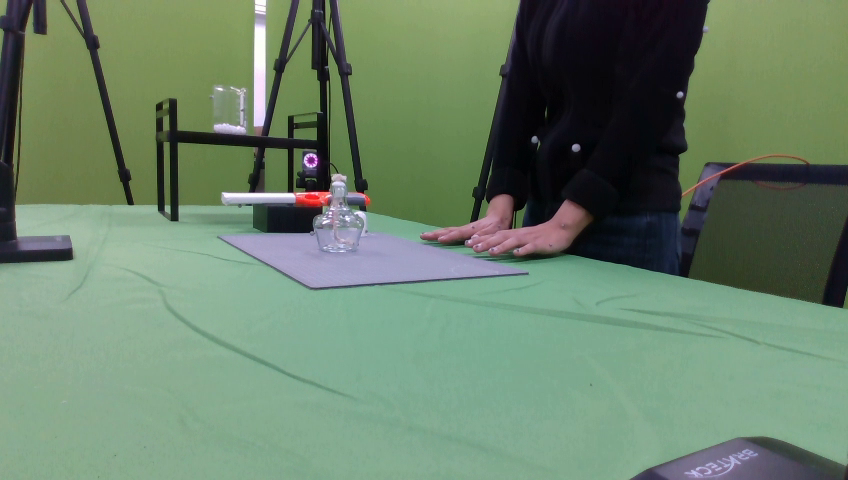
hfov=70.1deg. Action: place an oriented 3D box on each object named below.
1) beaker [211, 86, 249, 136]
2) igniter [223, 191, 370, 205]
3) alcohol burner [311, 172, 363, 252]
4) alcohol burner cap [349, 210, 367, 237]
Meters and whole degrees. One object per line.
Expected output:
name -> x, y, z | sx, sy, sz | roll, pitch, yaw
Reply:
beaker -> -0.413, -0.274, 1.297 | 0.074, 0.100, 0.083 | -5, 11, -44
igniter -> -0.239, -0.080, 1.159 | 0.278, 0.025, 0.057 | -2, 20, -26
alcohol burner -> -0.130, -0.042, 0.906 | 0.078, 0.119, 0.078 | 2, 6, 0
alcohol burner cap -> -0.118, -0.030, 1.095 | 0.034, 0.048, 0.034 | 2, 8, 0
